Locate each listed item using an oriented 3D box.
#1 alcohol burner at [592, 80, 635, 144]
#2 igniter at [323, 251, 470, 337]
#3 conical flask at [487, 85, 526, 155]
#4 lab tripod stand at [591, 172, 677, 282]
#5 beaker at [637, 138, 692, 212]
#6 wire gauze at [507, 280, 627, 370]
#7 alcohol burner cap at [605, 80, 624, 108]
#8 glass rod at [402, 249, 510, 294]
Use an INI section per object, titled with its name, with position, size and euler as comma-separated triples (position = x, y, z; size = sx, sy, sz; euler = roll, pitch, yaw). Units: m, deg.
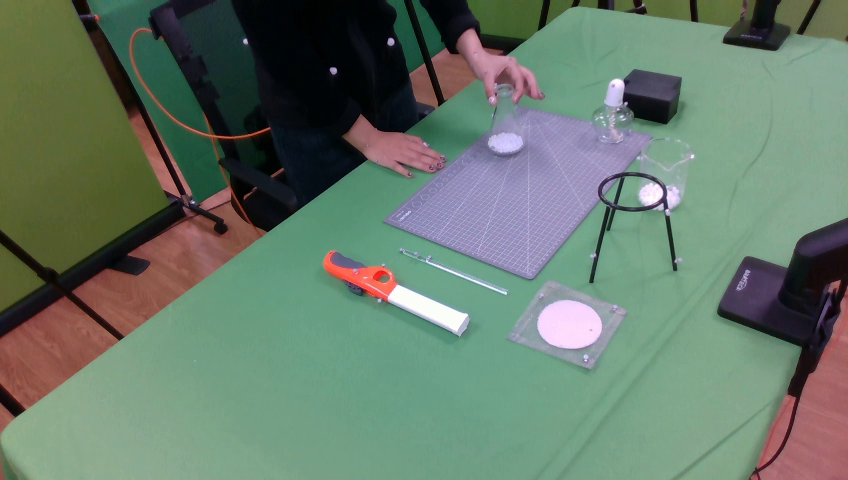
[alcohol burner]
position = 0.353, -0.242, 1.126
size = 0.078, 0.119, 0.077
euler = -5, 38, 5
[igniter]
position = -0.052, 0.075, 0.901
size = 0.274, 0.025, 0.057
euler = 22, 60, 32
[conical flask]
position = 0.153, -0.227, 1.133
size = 0.075, 0.122, 0.075
euler = -5, 41, 5
[lab tripod stand]
position = 0.292, -0.022, 0.867
size = 0.148, 0.132, 0.147
euler = -7, 39, 6
[beaker]
position = 0.383, -0.100, 0.970
size = 0.074, 0.101, 0.084
euler = 2, 42, 14
[wire gauze]
position = 0.196, 0.114, 0.823
size = 0.120, 0.011, 0.125
euler = 20, 50, 31
[alcohol burner cap]
position = 0.350, -0.268, 1.102
size = 0.034, 0.048, 0.033
euler = -2, 45, 3
[glass rod]
position = 0.045, 0.046, 0.932
size = 0.198, 0.008, 0.008
euler = 20, 49, 31
